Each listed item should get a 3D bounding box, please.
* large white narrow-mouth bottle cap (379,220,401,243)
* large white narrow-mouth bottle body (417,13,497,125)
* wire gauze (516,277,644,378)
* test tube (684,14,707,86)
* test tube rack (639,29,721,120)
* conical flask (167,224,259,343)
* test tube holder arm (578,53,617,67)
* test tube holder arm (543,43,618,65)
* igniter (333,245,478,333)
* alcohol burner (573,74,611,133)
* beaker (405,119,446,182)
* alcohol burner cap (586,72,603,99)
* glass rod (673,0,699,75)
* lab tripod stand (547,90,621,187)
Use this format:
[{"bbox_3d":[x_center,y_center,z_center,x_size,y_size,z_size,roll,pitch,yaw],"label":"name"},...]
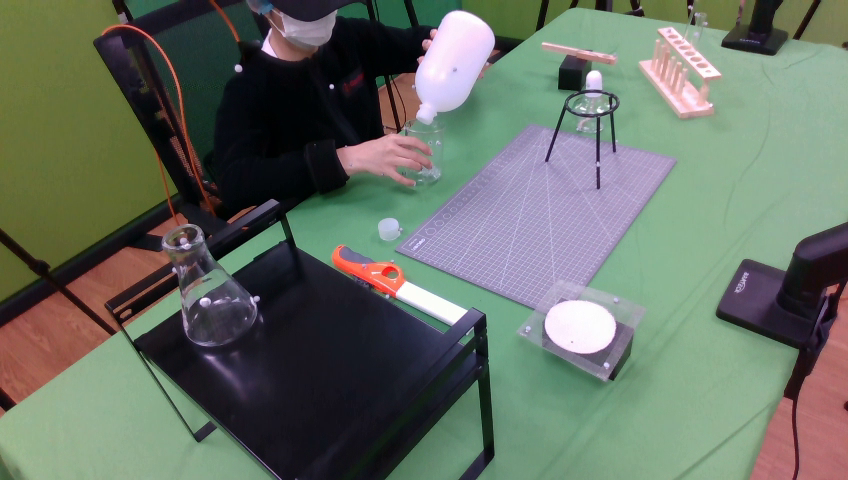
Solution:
[{"bbox_3d":[-0.057,-0.015,1.012,0.038,0.024,0.037,-4,40,4],"label":"large white narrow-mouth bottle cap"},{"bbox_3d":[0.045,-0.294,1.073,0.101,0.102,0.194,25,84,33],"label":"large white narrow-mouth bottle body"},{"bbox_3d":[0.197,0.103,0.765,0.124,0.011,0.122,23,50,31],"label":"wire gauze"},{"bbox_3d":[0.541,-0.379,1.216,0.017,0.151,0.017,-2,44,2],"label":"test tube"},{"bbox_3d":[0.527,-0.351,1.262,0.067,0.085,0.241,-8,40,1],"label":"test tube rack"},{"bbox_3d":[-0.220,0.041,0.613,0.075,0.122,0.075,-5,40,4],"label":"conical flask"},{"bbox_3d":[0.376,-0.393,1.314,0.087,0.015,0.010,26,51,32],"label":"test tube holder arm"},{"bbox_3d":[0.345,-0.413,1.340,0.177,0.015,0.013,25,50,31],"label":"test tube holder arm"},{"bbox_3d":[-0.038,0.068,0.905,0.274,0.025,0.057,24,60,32],"label":"igniter"},{"bbox_3d":[0.330,-0.270,1.176,0.078,0.119,0.077,-4,43,4],"label":"alcohol burner"},{"bbox_3d":[0.005,-0.164,1.102,0.073,0.100,0.084,18,34,26],"label":"beaker"},{"bbox_3d":[0.325,-0.297,1.154,0.034,0.048,0.033,-8,35,6],"label":"alcohol burner cap"},{"bbox_3d":[0.541,-0.427,1.246,0.008,0.200,0.008,0,48,1],"label":"glass rod"},{"bbox_3d":[0.289,-0.184,1.062,0.148,0.132,0.147,-6,41,6],"label":"lab tripod stand"}]
